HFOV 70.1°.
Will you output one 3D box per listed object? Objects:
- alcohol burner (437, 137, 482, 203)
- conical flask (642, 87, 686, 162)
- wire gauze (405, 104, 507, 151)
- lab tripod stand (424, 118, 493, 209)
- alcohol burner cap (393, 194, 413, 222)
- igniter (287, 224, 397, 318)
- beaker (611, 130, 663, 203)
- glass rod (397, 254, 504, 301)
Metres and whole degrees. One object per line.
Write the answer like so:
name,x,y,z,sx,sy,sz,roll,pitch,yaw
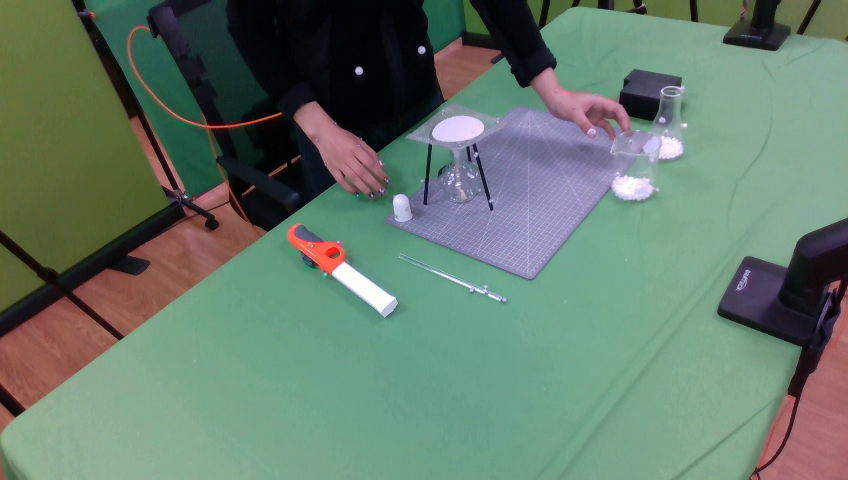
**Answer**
alcohol burner,0.060,-0.125,1.045,0.078,0.119,0.077,-5,39,4
conical flask,0.429,-0.206,1.067,0.075,0.122,0.075,-6,40,6
wire gauze,0.053,-0.184,0.996,0.120,0.011,0.125,26,50,37
lab tripod stand,0.061,-0.133,1.039,0.148,0.132,0.147,-6,38,6
alcohol burner cap,-0.039,-0.057,1.038,0.034,0.048,0.033,-5,40,5
igniter,-0.139,0.042,0.957,0.057,0.025,0.274,-42,49,-18
beaker,0.346,-0.118,0.998,0.084,0.101,0.073,-17,40,-7
glass rod,0.036,0.054,0.922,0.198,0.008,0.008,22,50,31
